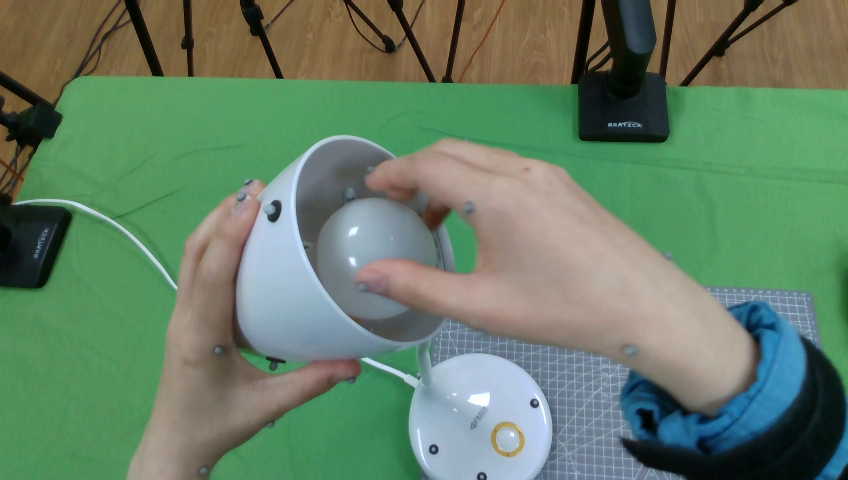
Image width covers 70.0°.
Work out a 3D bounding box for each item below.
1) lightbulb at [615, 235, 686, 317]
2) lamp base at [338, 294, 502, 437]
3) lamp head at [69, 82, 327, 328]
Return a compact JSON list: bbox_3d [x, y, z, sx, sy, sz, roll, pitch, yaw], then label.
[{"bbox_3d":[0.248,0.037,0.680,0.059,0.060,0.106,-23,55,-2],"label":"lightbulb"},{"bbox_3d":[-0.013,0.111,0.609,0.179,0.181,0.159,7,72,11],"label":"lamp base"},{"bbox_3d":[-0.123,-0.002,0.313,0.113,0.123,0.111,16,60,-31],"label":"lamp head"}]
